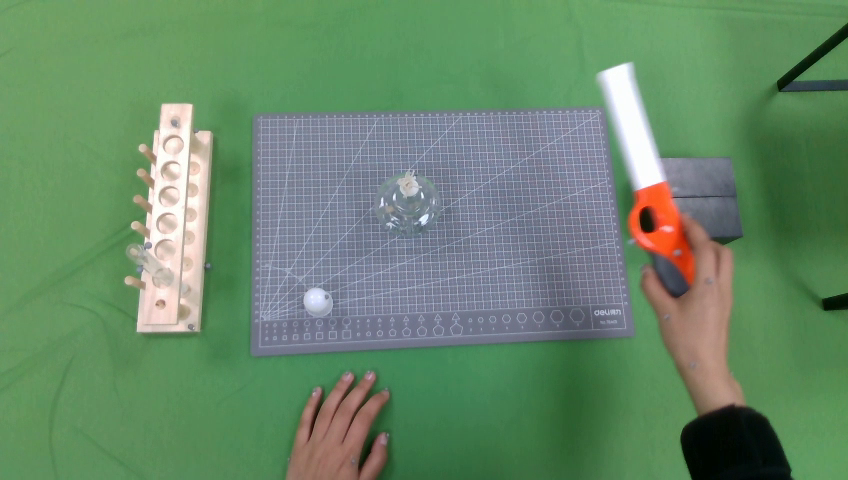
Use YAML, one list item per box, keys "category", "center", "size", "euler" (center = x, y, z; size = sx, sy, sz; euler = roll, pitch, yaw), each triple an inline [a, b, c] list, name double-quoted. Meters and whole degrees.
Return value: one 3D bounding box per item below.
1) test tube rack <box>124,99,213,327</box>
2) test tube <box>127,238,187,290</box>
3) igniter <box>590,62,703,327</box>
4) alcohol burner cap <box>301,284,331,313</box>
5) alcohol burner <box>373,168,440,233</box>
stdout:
- category: "test tube rack"
  center: [-0.288, -0.028, 0.676]
  size: [0.067, 0.085, 0.241]
  euler: [0, 77, -4]
- category: "test tube"
  center: [-0.267, 0.028, 0.614]
  size: [0.017, 0.151, 0.017]
  euler: [2, 72, -5]
- category: "igniter"
  center: [0.230, -0.046, 0.622]
  size: [0.057, 0.025, 0.276]
  euler: [-19, 90, 5]
- category: "alcohol burner cap"
  center: [-0.124, 0.064, 0.687]
  size: [0.034, 0.048, 0.033]
  euler: [1, 77, -5]
- category: "alcohol burner"
  center: [-0.019, -0.049, 0.685]
  size: [0.078, 0.119, 0.077]
  euler: [1, 78, -3]
